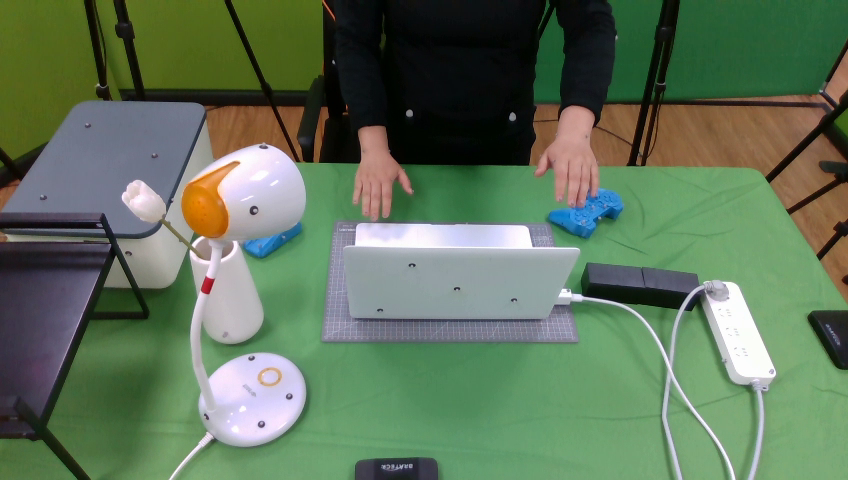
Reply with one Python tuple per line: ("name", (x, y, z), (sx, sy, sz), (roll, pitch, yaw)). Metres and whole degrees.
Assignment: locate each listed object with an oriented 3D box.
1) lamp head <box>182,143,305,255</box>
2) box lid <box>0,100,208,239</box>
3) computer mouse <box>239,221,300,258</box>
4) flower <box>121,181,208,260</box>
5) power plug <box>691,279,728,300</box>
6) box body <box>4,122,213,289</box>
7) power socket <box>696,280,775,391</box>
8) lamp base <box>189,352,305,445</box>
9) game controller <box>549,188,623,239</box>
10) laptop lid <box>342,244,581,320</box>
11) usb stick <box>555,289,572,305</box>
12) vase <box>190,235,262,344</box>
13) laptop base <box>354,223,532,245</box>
("lamp head", (-0.216, -0.044, 0.697), (0.112, 0.113, 0.123), (23, 31, 17))
("box lid", (-0.559, -0.138, 1.085), (0.263, 0.015, 0.369), (2, 46, -2))
("computer mouse", (-0.300, -0.016, 1.178), (0.062, 0.041, 0.117), (35, 58, 23))
("flower", (-0.329, 0.029, 0.905), (0.038, 0.364, 0.044), (-22, 58, -1))
("power plug", (0.522, 0.091, 1.116), (0.072, 0.053, 0.035), (10, 48, 9))
("box body", (-0.563, -0.088, 1.139), (0.254, 0.161, 0.361), (2, 46, -3))
("power socket", (0.550, 0.160, 1.078), (0.072, 0.033, 0.225), (2, 47, -1))
("lamp base", (-0.268, 0.196, 0.876), (0.160, 0.181, 0.179), (25, 52, 19))
("game controller", (0.345, -0.065, 1.272), (0.155, 0.052, 0.096), (-31, 58, -29))
("laptop lid", (0.051, 0.073, 0.969), (0.357, 0.243, 0.013), (1, 56, -5))
("usb stick", (0.236, 0.103, 1.101), (0.059, 0.027, 0.021), (0, 48, 1))
("vase", (-0.317, 0.081, 0.971), (0.098, 0.201, 0.097), (3, 47, -3))
("laptop base", (0.040, 0.056, 1.149), (0.355, 0.023, 0.234), (1, 43, -4))
